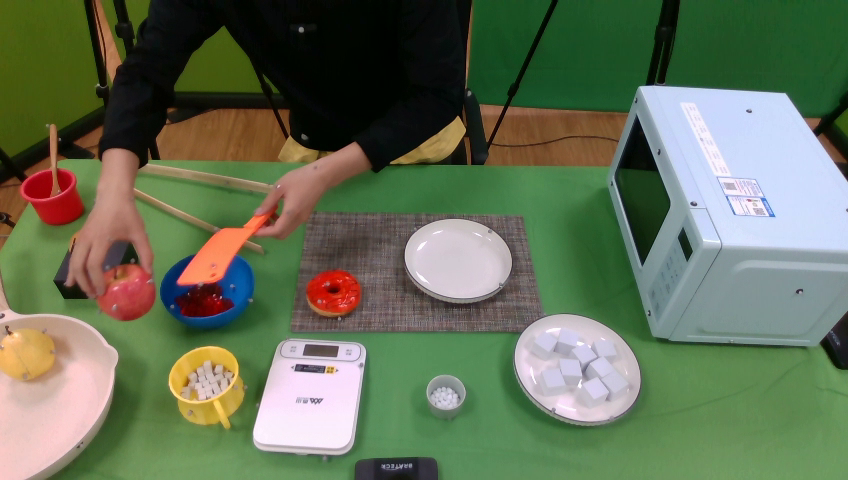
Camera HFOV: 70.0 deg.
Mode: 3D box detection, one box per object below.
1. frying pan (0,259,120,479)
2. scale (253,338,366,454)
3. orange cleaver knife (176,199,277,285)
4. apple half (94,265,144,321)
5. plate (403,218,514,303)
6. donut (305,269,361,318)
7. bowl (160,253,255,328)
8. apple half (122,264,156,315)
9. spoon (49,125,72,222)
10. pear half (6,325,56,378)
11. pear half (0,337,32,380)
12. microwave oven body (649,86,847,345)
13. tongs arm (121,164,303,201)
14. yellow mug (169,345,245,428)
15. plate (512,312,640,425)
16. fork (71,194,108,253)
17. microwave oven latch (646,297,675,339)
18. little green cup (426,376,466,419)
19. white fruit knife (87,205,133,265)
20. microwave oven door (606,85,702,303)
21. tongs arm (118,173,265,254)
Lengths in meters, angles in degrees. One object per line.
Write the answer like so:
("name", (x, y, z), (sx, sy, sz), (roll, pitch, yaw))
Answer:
("frying pan", (-0.647, 0.164, 0.936), (0.307, 0.103, 0.485), (-19, 58, -22))
("scale", (-0.175, 0.236, 0.951), (0.149, 0.032, 0.199), (5, 46, 0))
("orange cleaver knife", (-0.306, 0.000, 0.951), (0.077, 0.012, 0.210), (6, 42, 21))
("apple half", (-0.451, 0.083, 0.889), (0.053, 0.075, 0.080), (-23, 44, -23))
("plate", (0.064, 0.042, 1.146), (0.209, 0.038, 0.208), (2, 46, -2))
("donut", (-0.160, 0.094, 1.075), (0.099, 0.048, 0.098), (4, 45, -4))
("bowl", (-0.362, 0.097, 1.039), (0.151, 0.077, 0.150), (2, 45, -2))
("apple half", (-0.418, 0.070, 0.905), (0.033, 0.081, 0.081), (-23, 52, -23))
("spoon", (-0.718, -0.131, 1.189), (0.041, 0.021, 0.193), (-4, 91, -6))
("pear half", (-0.608, 0.158, 0.935), (0.076, 0.110, 0.056), (31, 51, 20))
("pear half", (-0.631, 0.184, 0.921), (0.070, 0.088, 0.031), (29, 49, 19))
("microwave oven body", (0.567, -0.053, 1.118), (0.326, 0.261, 0.439), (2, 45, -1))
("tongs arm", (-0.444, -0.114, 1.267), (0.384, 0.026, 0.050), (12, 50, 8))
("yellow mug", (-0.322, 0.230, 0.922), (0.100, 0.064, 0.130), (-24, 53, -25))
("plate", (0.246, 0.213, 0.999), (0.208, 0.039, 0.206), (2, 46, -2))
("fork", (-0.635, -0.036, 1.158), (0.028, 0.019, 0.206), (-8, 31, -8))
("microwave oven latch", (0.412, 0.134, 1.061), (0.030, 0.029, 0.078), (4, 45, 1))
("little green cup", (0.033, 0.248, 0.950), (0.061, 0.039, 0.061), (2, 46, -2))
("white fruit knife", (-0.584, -0.013, 1.129), (0.016, 0.027, 0.206), (0, 31, -5))
("microwave oven door", (0.422, -0.094, 1.140), (0.039, 0.245, 0.353), (2, 46, -1))
("tongs arm", (-0.473, -0.054, 1.212), (0.386, 0.028, 0.028), (23, 56, 18))
